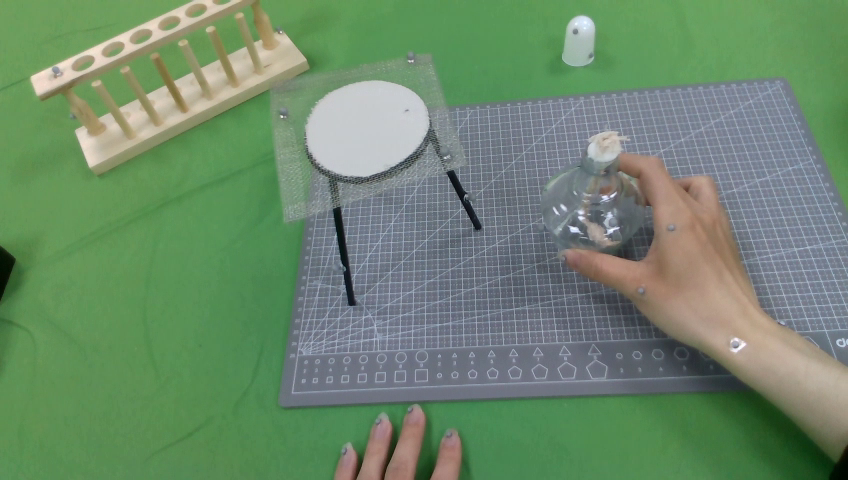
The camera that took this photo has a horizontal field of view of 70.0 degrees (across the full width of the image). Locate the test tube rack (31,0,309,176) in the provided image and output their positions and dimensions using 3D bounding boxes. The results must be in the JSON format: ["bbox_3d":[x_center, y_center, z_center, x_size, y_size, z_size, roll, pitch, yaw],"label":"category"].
[{"bbox_3d":[-0.248,-0.168,0.615,0.242,0.086,0.066,-31,58,-12],"label":"test tube rack"}]

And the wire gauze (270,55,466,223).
[{"bbox_3d":[-0.043,-0.076,0.412,0.121,0.011,0.124,-14,57,-1],"label":"wire gauze"}]

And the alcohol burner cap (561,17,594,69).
[{"bbox_3d":[0.155,-0.199,0.604,0.034,0.048,0.033,-4,57,7],"label":"alcohol burner cap"}]

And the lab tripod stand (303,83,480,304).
[{"bbox_3d":[-0.032,-0.038,0.467,0.148,0.133,0.147,-3,58,5],"label":"lab tripod stand"}]

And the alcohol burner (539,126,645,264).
[{"bbox_3d":[0.124,-0.036,0.445,0.078,0.120,0.077,-4,53,5],"label":"alcohol burner"}]
